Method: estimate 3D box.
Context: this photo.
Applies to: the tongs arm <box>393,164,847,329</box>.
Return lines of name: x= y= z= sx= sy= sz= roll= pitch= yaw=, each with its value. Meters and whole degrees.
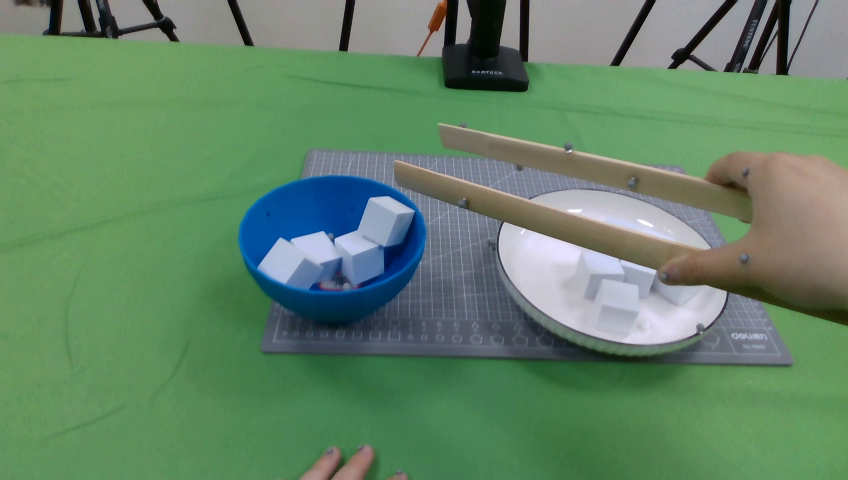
tongs arm: x=0.137 y=0.001 z=0.385 sx=0.384 sy=0.028 sz=0.028 roll=18 pitch=45 yaw=29

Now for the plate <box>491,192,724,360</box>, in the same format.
plate: x=0.163 y=0.032 z=0.559 sx=0.208 sy=0.039 sz=0.205 roll=3 pitch=41 yaw=-3

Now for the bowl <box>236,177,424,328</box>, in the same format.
bowl: x=-0.077 y=0.021 z=0.513 sx=0.151 sy=0.077 sz=0.150 roll=3 pitch=41 yaw=-3

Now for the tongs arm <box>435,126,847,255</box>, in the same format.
tongs arm: x=0.159 y=-0.022 z=0.405 sx=0.382 sy=0.027 sz=0.050 roll=18 pitch=48 yaw=29
